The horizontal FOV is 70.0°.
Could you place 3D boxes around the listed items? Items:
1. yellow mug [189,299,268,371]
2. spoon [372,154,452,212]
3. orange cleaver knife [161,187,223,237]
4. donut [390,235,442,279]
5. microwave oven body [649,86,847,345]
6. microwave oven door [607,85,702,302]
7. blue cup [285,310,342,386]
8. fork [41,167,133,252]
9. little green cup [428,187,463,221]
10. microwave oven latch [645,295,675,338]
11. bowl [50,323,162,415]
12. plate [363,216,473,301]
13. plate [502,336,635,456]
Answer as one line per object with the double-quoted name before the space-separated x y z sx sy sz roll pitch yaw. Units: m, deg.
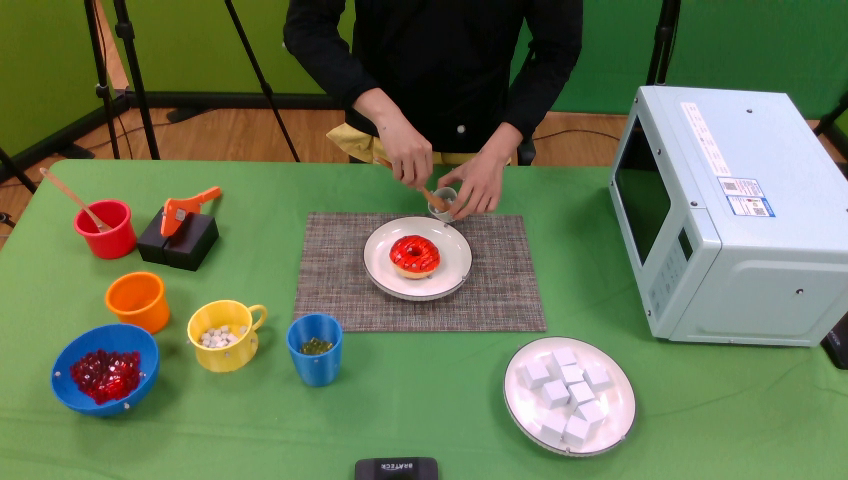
"yellow mug" -0.316 0.148 1.002 0.131 0.064 0.099 -32 56 -31
"spoon" -0.019 -0.103 1.089 0.021 0.195 0.041 -40 37 18
"orange cleaver knife" -0.448 -0.058 1.181 0.012 0.077 0.211 13 17 6
"donut" -0.016 0.032 1.135 0.099 0.048 0.098 3 44 -3
"microwave oven body" 0.568 -0.053 1.118 0.326 0.261 0.439 2 45 -1
"microwave oven door" 0.423 -0.094 1.141 0.039 0.245 0.353 2 46 -1
"blue cup" -0.170 0.179 0.958 0.093 0.101 0.092 2 44 -1
"fork" -0.624 -0.056 1.121 0.208 0.018 0.028 49 51 -15
"little green cup" 0.043 -0.066 1.146 0.061 0.039 0.061 -12 63 25
"microwave oven latch" 0.412 0.134 1.061 0.030 0.029 0.078 3 45 0
"bowl" -0.472 0.209 0.924 0.151 0.077 0.150 3 45 -2
"plate" -0.012 0.038 1.145 0.209 0.038 0.208 2 46 -2
"plate" 0.225 0.248 0.963 0.208 0.039 0.206 2 46 -2
